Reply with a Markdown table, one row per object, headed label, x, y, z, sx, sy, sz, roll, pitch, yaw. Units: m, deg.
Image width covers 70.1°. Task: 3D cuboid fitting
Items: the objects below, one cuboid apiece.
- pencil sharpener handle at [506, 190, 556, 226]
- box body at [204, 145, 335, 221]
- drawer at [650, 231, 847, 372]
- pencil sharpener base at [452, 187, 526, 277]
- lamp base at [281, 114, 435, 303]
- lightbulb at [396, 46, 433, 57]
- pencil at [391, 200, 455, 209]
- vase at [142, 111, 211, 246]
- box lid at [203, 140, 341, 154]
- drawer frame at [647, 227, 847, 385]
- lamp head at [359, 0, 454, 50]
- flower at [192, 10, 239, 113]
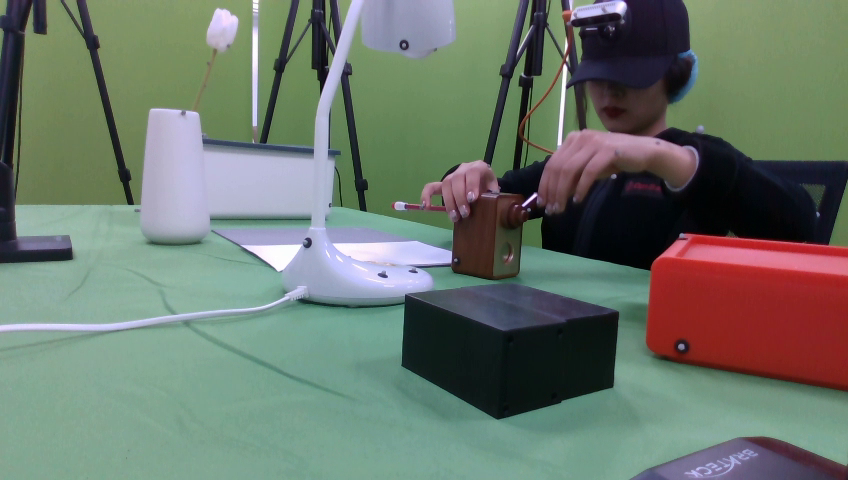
| label | x | y | z | sx | sy | sz | roll | pitch | yaw |
| --- | --- | --- | --- | --- | --- | --- | --- | --- | --- |
| pencil sharpener handle | 0.131 | -0.041 | 0.734 | 0.030 | 0.036 | 0.068 | 9 | 40 | 43 |
| box body | -0.411 | -0.135 | 1.386 | 0.366 | 0.160 | 0.253 | -2 | 9 | -29 |
| drawer | 0.303 | 0.044 | 0.499 | 0.194 | 0.073 | 0.212 | 7 | 9 | 27 |
| pencil sharpener base | 0.084 | -0.011 | 0.764 | 0.076 | 0.107 | 0.062 | 9 | 10 | 43 |
| lamp base | -0.071 | -0.035 | 0.614 | 0.160 | 0.180 | 0.180 | 5 | 10 | 27 |
| lightbulb | -0.018 | -0.265 | 0.692 | 0.059 | 0.108 | 0.059 | -10 | 28 | 5 |
| pencil | 0.024 | -0.046 | 0.818 | 0.193 | 0.012 | 0.012 | 6 | 8 | 44 |
| vase | -0.378 | -0.093 | 0.920 | 0.098 | 0.200 | 0.098 | 2 | 9 | 0 |
| box lid | -0.396 | -0.212 | 1.373 | 0.373 | 0.015 | 0.262 | -1 | 9 | -29 |
| drawer frame | 0.303 | 0.043 | 0.495 | 0.201 | 0.082 | 0.214 | 6 | 9 | 26 |
| lamp head | -0.024 | -0.283 | 0.674 | 0.112 | 0.123 | 0.112 | -3 | 38 | 3 |
| flower | -0.354 | -0.174 | 0.915 | 0.038 | 0.361 | 0.044 | 18 | -3 | 12 |
